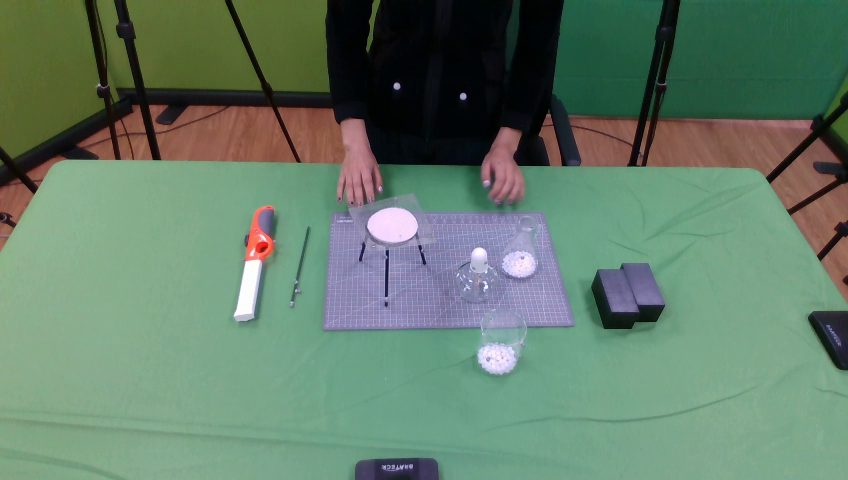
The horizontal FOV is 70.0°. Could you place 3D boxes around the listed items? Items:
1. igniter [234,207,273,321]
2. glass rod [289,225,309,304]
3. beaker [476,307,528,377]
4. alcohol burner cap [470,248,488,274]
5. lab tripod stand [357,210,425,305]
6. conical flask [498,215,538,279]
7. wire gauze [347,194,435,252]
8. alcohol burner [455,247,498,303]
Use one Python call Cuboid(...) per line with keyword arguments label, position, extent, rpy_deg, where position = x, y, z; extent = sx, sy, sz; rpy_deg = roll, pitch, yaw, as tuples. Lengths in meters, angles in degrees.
Cuboid(label="igniter", position=(-0.318, 0.035, 1.137), extent=(0.057, 0.025, 0.274), rpy_deg=(-8, 46, 3))
Cuboid(label="glass rod", position=(-0.235, 0.043, 1.149), extent=(0.008, 0.008, 0.198), rpy_deg=(3, 46, -1))
Cuboid(label="beaker", position=(0.122, 0.171, 0.991), extent=(0.084, 0.101, 0.073), rpy_deg=(-34, 56, -31))
Cuboid(label="alcohol burner cap", position=(0.095, 0.034, 1.057), extent=(0.034, 0.048, 0.033), rpy_deg=(-3, 53, 4))
Cuboid(label="lab tripod stand", position=(-0.060, 0.020, 1.094), extent=(0.148, 0.132, 0.147), rpy_deg=(3, 44, -2))
Cuboid(label="conical flask", position=(0.183, 0.010, 1.131), extent=(0.075, 0.122, 0.075), rpy_deg=(2, 46, -2))
Cuboid(label="wire gauze", position=(-0.058, -0.029, 1.048), extent=(0.125, 0.011, 0.120), rpy_deg=(-12, 48, -16))
Cuboid(label="alcohol burner", position=(0.095, 0.057, 1.084), extent=(0.078, 0.120, 0.077), rpy_deg=(1, 47, -1))
